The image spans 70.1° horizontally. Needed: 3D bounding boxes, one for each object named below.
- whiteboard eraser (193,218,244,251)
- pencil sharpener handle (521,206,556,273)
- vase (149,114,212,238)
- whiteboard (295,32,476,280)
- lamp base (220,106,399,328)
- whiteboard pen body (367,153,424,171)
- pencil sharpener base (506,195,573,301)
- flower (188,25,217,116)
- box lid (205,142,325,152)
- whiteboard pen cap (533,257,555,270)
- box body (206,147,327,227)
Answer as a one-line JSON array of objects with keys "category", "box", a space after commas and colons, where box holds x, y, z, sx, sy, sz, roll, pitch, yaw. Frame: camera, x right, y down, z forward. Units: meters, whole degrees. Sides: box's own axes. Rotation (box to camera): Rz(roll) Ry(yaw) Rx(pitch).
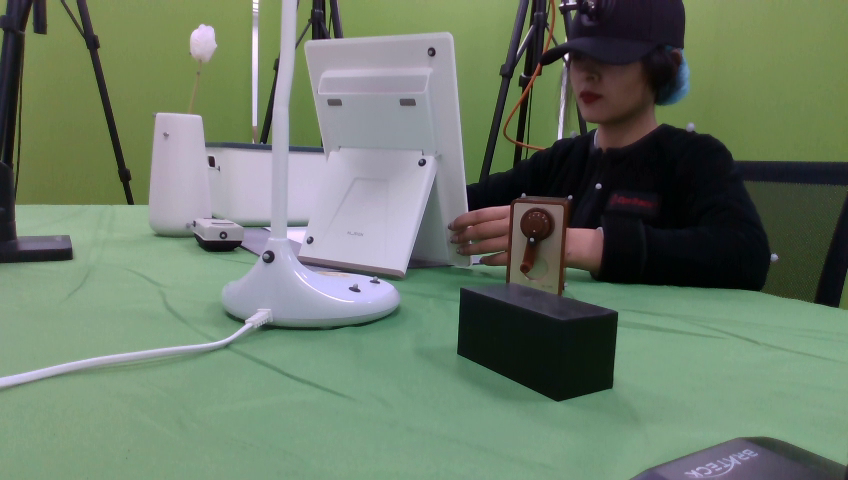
[{"category": "whiteboard eraser", "box": [-0.307, -0.009, 0.900, 0.056, 0.042, 0.112, -3, 10, -29]}, {"category": "pencil sharpener handle", "box": [0.111, 0.000, 0.612, 0.036, 0.067, 0.031, 13, 10, 14]}, {"category": "vase", "box": [-0.405, -0.106, 1.005, 0.098, 0.200, 0.098, 2, 6, 0]}, {"category": "whiteboard", "box": [-0.076, -0.083, 0.747, 0.216, 0.305, 0.144, 7, 28, 29]}, {"category": "lamp base", "box": [-0.102, -0.023, 0.531, 0.160, 0.180, 0.179, 4, 10, 10]}, {"category": "whiteboard pen body", "box": [-0.041, -0.113, 0.882, 0.017, 0.017, 0.141, 7, 15, 30]}, {"category": "pencil sharpener base", "box": [0.127, 0.007, 0.662, 0.061, 0.107, 0.077, 5, 8, 15]}, {"category": "flower", "box": [-0.394, -0.189, 1.011, 0.044, 0.361, 0.038, -1, -13, 27]}, {"category": "box lid", "box": [-0.270, -0.196, 1.310, 0.373, 0.015, 0.262, -2, 9, -30]}, {"category": "whiteboard pen cap", "box": [0.166, 0.032, 0.839, 0.018, 0.018, 0.033, -1, 5, -23]}, {"category": "box body", "box": [-0.276, -0.122, 1.320, 0.366, 0.160, 0.253, -2, 9, -30]}]
